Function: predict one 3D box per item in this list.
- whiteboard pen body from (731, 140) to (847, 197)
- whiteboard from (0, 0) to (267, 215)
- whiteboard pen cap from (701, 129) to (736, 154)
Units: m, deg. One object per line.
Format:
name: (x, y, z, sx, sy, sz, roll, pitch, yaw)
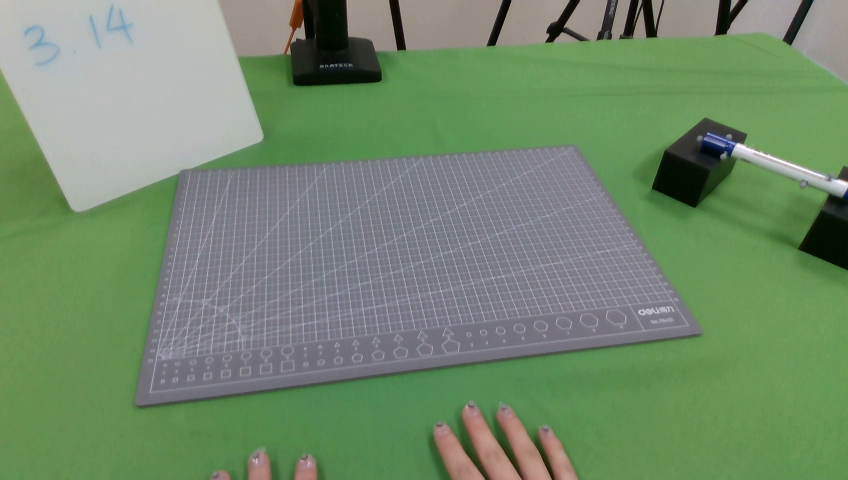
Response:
whiteboard pen body: (0.354, -0.077, 0.606, 0.139, 0.017, 0.017, 29, 48, 26)
whiteboard: (-0.335, -0.219, 0.630, 0.217, 0.308, 0.142, -31, 32, -31)
whiteboard pen cap: (0.308, -0.101, 0.631, 0.033, 0.018, 0.018, 30, 48, 24)
